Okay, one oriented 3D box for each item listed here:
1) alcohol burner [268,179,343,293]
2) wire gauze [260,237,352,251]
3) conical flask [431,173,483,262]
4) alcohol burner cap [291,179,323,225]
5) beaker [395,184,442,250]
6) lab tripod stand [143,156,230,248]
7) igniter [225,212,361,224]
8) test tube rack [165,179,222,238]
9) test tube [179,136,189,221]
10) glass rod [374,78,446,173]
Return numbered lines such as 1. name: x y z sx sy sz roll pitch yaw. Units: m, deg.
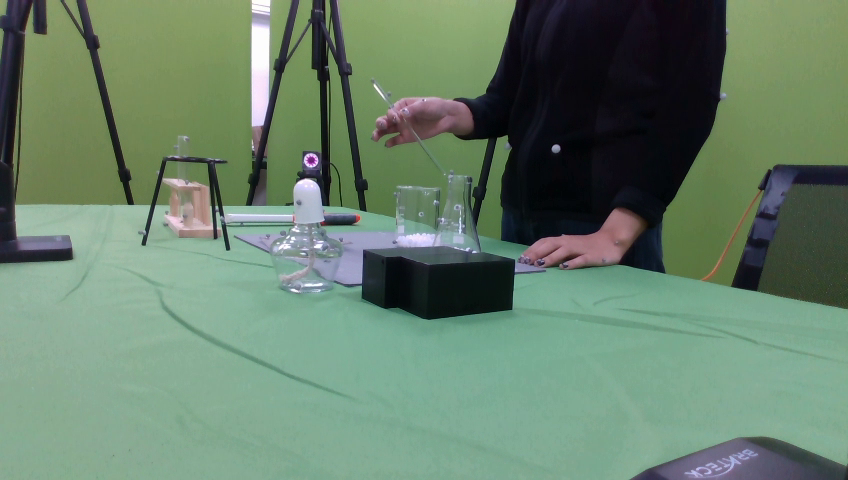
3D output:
1. alcohol burner: -0.124 -0.005 0.637 0.078 0.119 0.078 4 8 0
2. wire gauze: -0.184 0.004 0.938 0.122 0.011 0.124 -1 5 -24
3. conical flask: 0.049 -0.033 0.857 0.075 0.122 0.075 2 7 0
4. alcohol burner cap: -0.124 -0.040 0.632 0.034 0.048 0.034 -3 10 1
5. beaker: -0.009 -0.038 0.968 0.074 0.100 0.084 6 8 21
6. lab tripod stand: -0.338 -0.058 0.908 0.148 0.131 0.148 4 7 0
7. igniter: -0.262 -0.044 1.240 0.278 0.025 0.057 -2 -1 -31
8. test tube rack: -0.423 -0.062 1.098 0.067 0.085 0.241 -2 9 -28
9. test tube: -0.425 -0.108 1.070 0.017 0.150 0.017 4 9 0
10. glass rod: -0.020 -0.183 0.983 0.008 0.200 0.008 -28 32 20
